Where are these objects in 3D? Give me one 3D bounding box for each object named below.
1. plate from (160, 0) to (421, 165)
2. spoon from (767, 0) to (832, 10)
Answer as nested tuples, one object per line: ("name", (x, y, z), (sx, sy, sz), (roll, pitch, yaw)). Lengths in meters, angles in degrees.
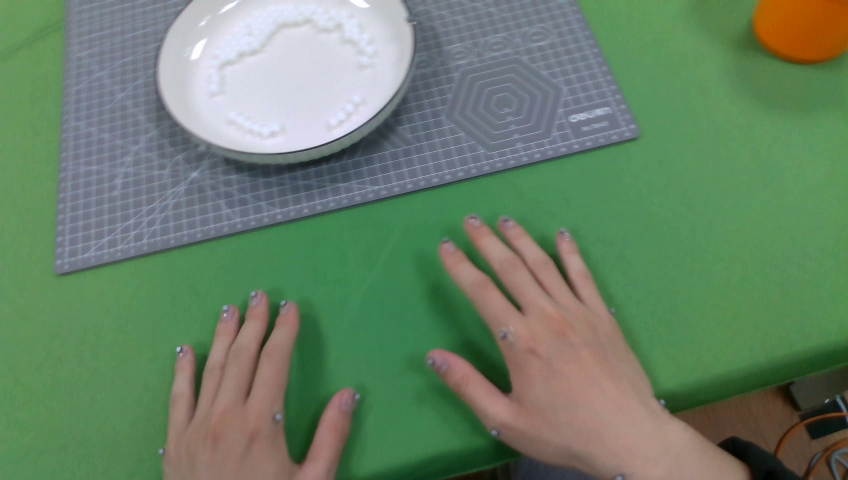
("plate", (-0.104, -0.145, 0.492), (0.207, 0.039, 0.206), (-2, 64, 4))
("spoon", (0.333, -0.189, 0.416), (0.041, 0.192, 0.022), (-44, 112, -17))
